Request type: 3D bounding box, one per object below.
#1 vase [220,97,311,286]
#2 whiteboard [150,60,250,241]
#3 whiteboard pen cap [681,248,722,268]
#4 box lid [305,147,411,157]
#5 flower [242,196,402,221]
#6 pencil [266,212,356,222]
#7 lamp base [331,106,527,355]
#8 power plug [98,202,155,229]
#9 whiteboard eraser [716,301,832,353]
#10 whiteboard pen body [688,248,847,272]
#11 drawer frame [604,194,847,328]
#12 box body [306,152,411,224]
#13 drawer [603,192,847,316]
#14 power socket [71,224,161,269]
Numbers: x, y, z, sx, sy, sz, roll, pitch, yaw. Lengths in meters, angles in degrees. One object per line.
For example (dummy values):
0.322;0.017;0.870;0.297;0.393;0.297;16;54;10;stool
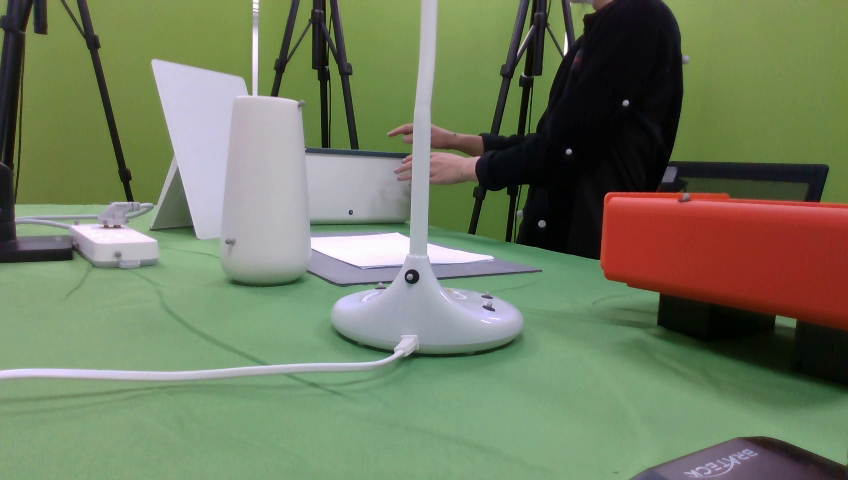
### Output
-0.172;-0.052;0.662;0.098;0.200;0.098;3;8;0;vase
-0.408;-0.139;1.093;0.143;0.305;0.218;-15;-1;26;whiteboard
0.250;0.017;0.544;0.033;0.018;0.018;2;7;25;whiteboard pen cap
-0.229;-0.200;1.361;0.373;0.015;0.262;-2;9;-33;box lid
-0.231;-0.065;1.372;0.362;0.038;0.044;6;39;-2;flower
-0.244;-0.049;1.319;0.195;0.012;0.012;4;7;-12;pencil
0.006;-0.012;0.478;0.161;0.180;0.179;2;10;2;lamp base
-0.416;-0.027;0.848;0.073;0.052;0.035;0;7;-28;power plug
0.256;0.042;0.472;0.112;0.042;0.056;43;19;30;whiteboard eraser
0.304;0.016;0.520;0.140;0.017;0.017;3;7;26;whiteboard pen body
0.298;0.007;0.497;0.203;0.082;0.212;-1;7;-34;drawer frame
-0.230;-0.126;1.371;0.366;0.160;0.253;-2;8;-33;box body
0.293;0.002;0.500;0.195;0.073;0.210;-1;8;-34;drawer
-0.408;0.004;0.793;0.072;0.032;0.225;-2;8;-38;power socket
